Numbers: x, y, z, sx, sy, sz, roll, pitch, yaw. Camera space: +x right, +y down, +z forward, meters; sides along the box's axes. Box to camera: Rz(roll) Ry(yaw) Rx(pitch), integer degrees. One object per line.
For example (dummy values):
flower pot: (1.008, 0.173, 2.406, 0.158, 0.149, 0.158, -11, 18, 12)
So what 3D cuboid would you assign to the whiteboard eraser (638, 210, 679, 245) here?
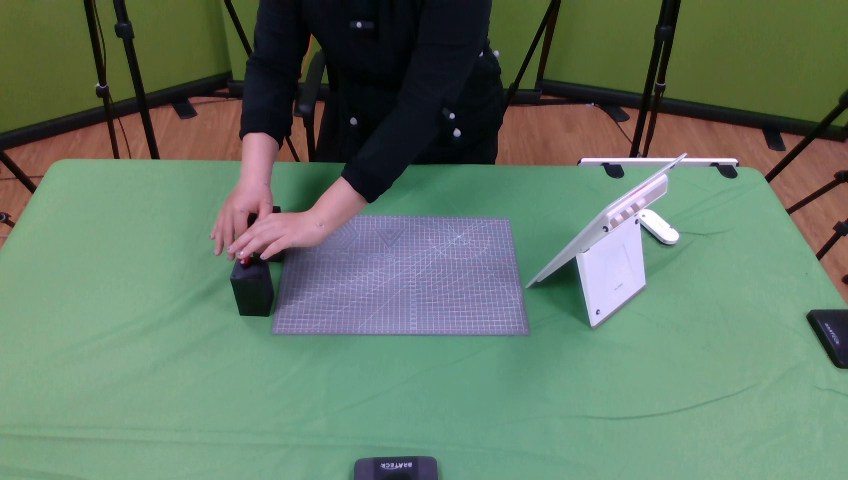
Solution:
whiteboard eraser: (0.485, -0.027, 1.260, 0.041, 0.019, 0.100, -20, 50, -22)

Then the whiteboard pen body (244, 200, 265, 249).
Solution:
whiteboard pen body: (-0.298, -0.020, 1.057, 0.017, 0.017, 0.139, 3, 45, -2)

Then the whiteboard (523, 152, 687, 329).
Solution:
whiteboard: (0.346, 0.024, 1.047, 0.217, 0.306, 0.143, -30, 74, -29)

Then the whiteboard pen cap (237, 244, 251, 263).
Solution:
whiteboard pen cap: (-0.302, 0.022, 1.016, 0.017, 0.017, 0.032, 6, 44, 2)
